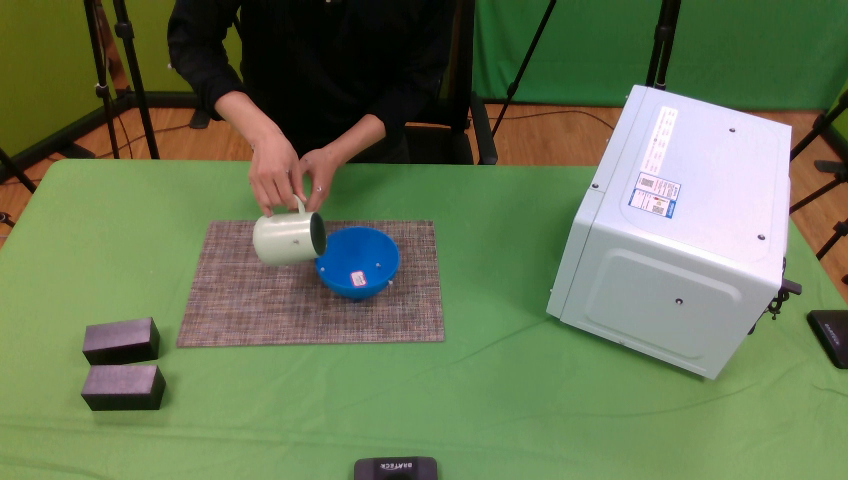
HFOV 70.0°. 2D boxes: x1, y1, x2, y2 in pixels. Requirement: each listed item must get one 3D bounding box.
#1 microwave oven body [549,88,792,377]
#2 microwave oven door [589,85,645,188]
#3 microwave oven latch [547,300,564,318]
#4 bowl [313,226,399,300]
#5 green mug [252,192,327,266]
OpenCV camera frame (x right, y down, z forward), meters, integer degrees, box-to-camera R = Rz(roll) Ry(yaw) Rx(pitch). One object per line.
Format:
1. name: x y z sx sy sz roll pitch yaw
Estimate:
1. microwave oven body: 0.456 -0.028 1.088 0.325 0.261 0.440 20 47 16
2. microwave oven door: 0.342 -0.107 1.149 0.039 0.245 0.354 20 48 15
3. microwave oven latch: 0.242 0.102 1.081 0.030 0.029 0.079 21 48 17
4. bowl: -0.120 0.055 1.091 0.151 0.077 0.150 2 46 -2
5. green mug: -0.234 -0.020 1.039 0.105 0.125 0.092 -7 14 13
